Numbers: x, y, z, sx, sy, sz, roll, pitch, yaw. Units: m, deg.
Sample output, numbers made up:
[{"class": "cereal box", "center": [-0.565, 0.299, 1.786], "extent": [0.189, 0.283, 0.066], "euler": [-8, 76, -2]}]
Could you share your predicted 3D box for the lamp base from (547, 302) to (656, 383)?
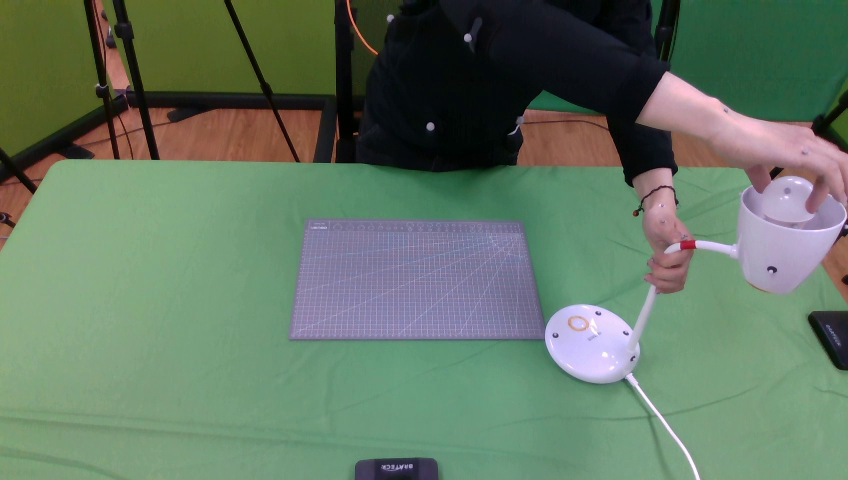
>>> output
[{"class": "lamp base", "center": [0.304, 0.127, 0.982], "extent": [0.160, 0.181, 0.178], "euler": [-33, 59, -29]}]

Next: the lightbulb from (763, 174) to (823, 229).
[{"class": "lightbulb", "center": [0.428, -0.026, 0.710], "extent": [0.059, 0.108, 0.059], "euler": [-7, 31, 4]}]

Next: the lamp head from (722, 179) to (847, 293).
[{"class": "lamp head", "center": [0.425, 0.002, 0.727], "extent": [0.112, 0.123, 0.111], "euler": [0, 39, 0]}]
